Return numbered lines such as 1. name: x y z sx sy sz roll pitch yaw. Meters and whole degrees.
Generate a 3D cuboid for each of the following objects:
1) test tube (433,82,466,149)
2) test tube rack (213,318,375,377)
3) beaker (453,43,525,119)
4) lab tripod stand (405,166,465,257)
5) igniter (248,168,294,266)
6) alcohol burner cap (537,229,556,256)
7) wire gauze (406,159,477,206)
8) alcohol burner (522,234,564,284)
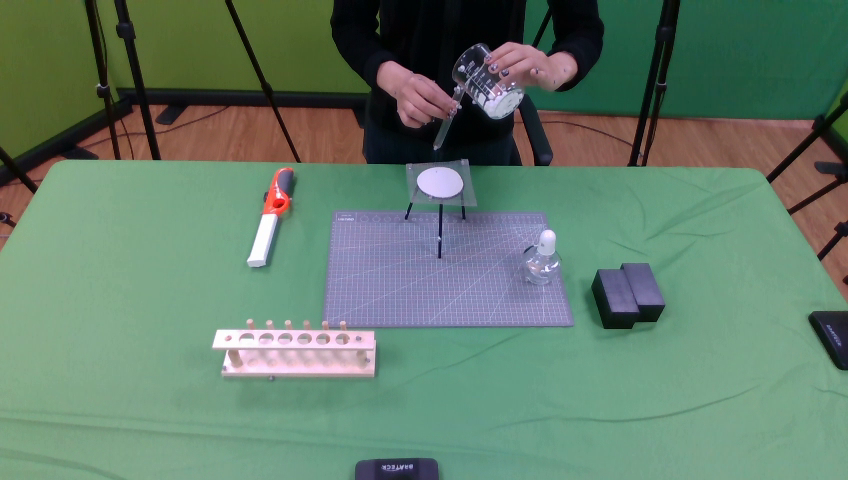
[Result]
1. test tube: 0.043 -0.212 1.051 0.017 0.151 0.017 9 53 -12
2. test tube rack: -0.202 0.169 0.977 0.242 0.085 0.066 1 46 -3
3. beaker: 0.102 -0.244 0.950 0.074 0.084 0.100 -20 63 -38
4. lab tripod stand: 0.030 -0.063 1.180 0.148 0.132 0.147 3 47 -3
5. igniter: -0.307 -0.055 1.225 0.057 0.025 0.275 -3 45 6
6. alcohol burner cap: 0.223 0.001 1.095 0.034 0.048 0.033 -1 43 1
7. wire gauze: 0.031 -0.108 1.129 0.125 0.011 0.120 -1 48 -5
8. alcohol burner: 0.223 0.027 1.120 0.078 0.119 0.077 2 48 -2
